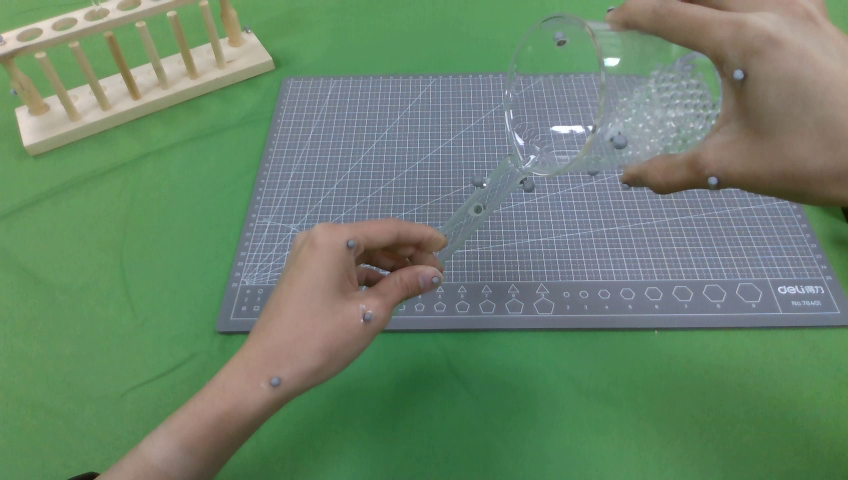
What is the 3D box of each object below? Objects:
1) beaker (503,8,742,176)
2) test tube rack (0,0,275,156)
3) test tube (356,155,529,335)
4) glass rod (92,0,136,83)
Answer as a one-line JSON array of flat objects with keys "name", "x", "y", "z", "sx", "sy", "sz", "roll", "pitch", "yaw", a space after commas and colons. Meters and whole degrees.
[{"name": "beaker", "x": 0.101, "y": -0.069, "z": 0.308, "sx": 0.101, "sy": 0.084, "sz": 0.073, "roll": -5, "pitch": 49, "yaw": -26}, {"name": "test tube rack", "x": -0.277, "y": -0.174, "z": 0.581, "sx": 0.242, "sy": 0.086, "sz": 0.066, "roll": -26, "pitch": 54, "yaw": -17}, {"name": "test tube", "x": 0.005, "y": 0.008, "z": 0.349, "sx": 0.017, "sy": 0.150, "sz": 0.017, "roll": 31, "pitch": 31, "yaw": -20}, {"name": "glass rod", "x": -0.291, "y": -0.216, "z": 0.530, "sx": 0.008, "sy": 0.201, "sz": 0.008, "roll": 1, "pitch": 53, "yaw": -1}]
